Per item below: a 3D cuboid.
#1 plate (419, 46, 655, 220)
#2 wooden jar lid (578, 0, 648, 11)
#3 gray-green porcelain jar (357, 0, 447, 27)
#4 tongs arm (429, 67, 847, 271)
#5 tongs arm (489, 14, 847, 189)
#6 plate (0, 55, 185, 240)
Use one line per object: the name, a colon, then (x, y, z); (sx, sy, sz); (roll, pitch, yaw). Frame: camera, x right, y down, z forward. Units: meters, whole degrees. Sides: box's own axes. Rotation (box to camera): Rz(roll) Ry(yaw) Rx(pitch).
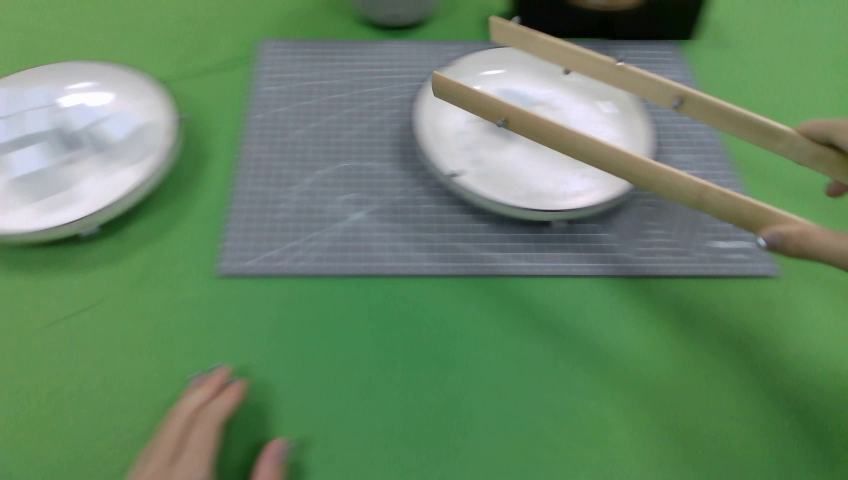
plate: (0.099, -0.097, 0.548); (0.209, 0.038, 0.207); (1, 55, -1)
wooden jar lid: (0.193, -0.272, 0.627); (0.108, 0.021, 0.107); (1, 56, -1)
gray-green porcelain jar: (-0.024, -0.302, 0.638); (0.106, 0.127, 0.105); (1, 54, 0)
tongs arm: (0.164, -0.045, 0.404); (0.385, 0.028, 0.028); (27, 57, 22)
tongs arm: (0.193, -0.077, 0.423); (0.382, 0.027, 0.050); (30, 62, 23)
plate: (-0.313, -0.081, 0.529); (0.208, 0.039, 0.205); (1, 55, -1)
